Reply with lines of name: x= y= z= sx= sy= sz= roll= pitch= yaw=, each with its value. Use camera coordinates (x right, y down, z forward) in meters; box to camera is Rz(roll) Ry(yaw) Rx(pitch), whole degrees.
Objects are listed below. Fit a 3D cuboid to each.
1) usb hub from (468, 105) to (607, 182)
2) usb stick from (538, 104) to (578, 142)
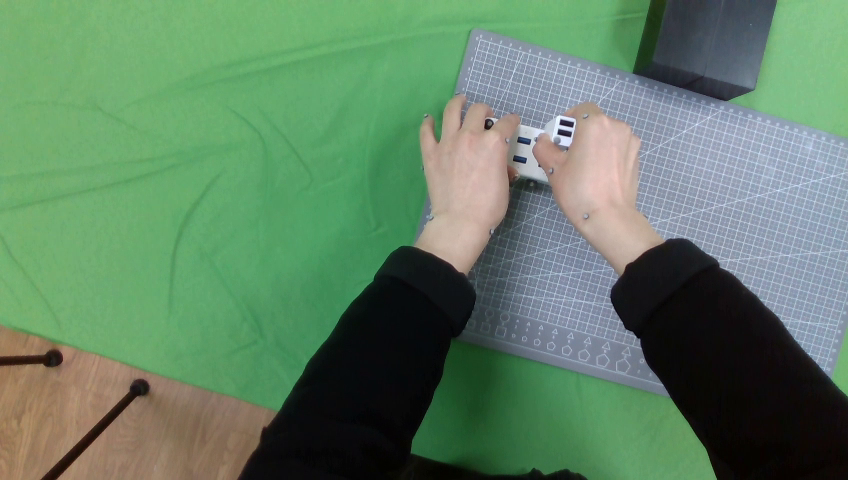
usb hub: x=0.109 y=-0.093 z=0.585 sx=0.125 sy=0.025 sz=0.049 roll=12 pitch=91 yaw=-3
usb stick: x=0.119 y=-0.105 z=0.553 sx=0.021 sy=0.059 sz=0.027 roll=14 pitch=89 yaw=-4
